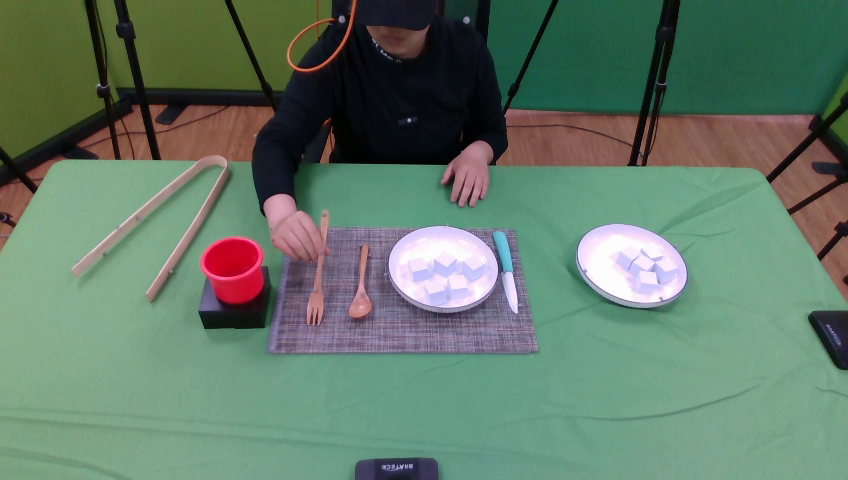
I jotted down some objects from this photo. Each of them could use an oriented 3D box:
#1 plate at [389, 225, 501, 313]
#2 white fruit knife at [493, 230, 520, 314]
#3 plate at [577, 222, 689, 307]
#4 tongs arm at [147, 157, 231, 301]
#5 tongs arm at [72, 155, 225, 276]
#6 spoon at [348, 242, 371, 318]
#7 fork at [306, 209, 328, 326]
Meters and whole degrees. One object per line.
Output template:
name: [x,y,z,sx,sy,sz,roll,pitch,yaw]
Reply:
plate: [0.038,0.057,1.128,0.208,0.039,0.206,2,46,-2]
white fruit knife: [0.160,0.057,1.154,0.027,0.016,0.206,-21,46,16]
plate: [0.396,0.050,1.165,0.209,0.038,0.208,2,47,-2]
tongs arm: [-0.454,-0.035,1.193,0.028,0.028,0.385,6,46,6]
tongs arm: [-0.531,-0.058,1.204,0.050,0.026,0.383,18,47,13]
spoon: [-0.113,0.070,1.115,0.041,0.022,0.192,-11,46,11]
fork: [-0.184,0.047,1.063,0.028,0.018,0.207,6,86,-5]
